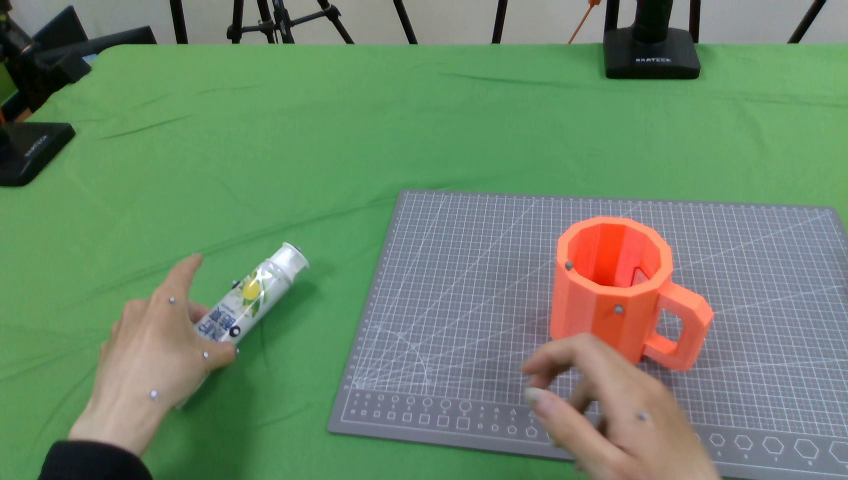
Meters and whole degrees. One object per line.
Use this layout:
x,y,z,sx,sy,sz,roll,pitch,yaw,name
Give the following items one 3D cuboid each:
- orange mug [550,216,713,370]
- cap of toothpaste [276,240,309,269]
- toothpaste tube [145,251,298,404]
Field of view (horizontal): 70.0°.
0.162,0.050,0.486,0.125,0.102,0.083,26,53,35,orange mug
-0.127,0.015,0.581,0.037,0.038,0.011,25,62,29,cap of toothpaste
-0.176,0.069,0.551,0.054,0.035,0.164,27,63,28,toothpaste tube
